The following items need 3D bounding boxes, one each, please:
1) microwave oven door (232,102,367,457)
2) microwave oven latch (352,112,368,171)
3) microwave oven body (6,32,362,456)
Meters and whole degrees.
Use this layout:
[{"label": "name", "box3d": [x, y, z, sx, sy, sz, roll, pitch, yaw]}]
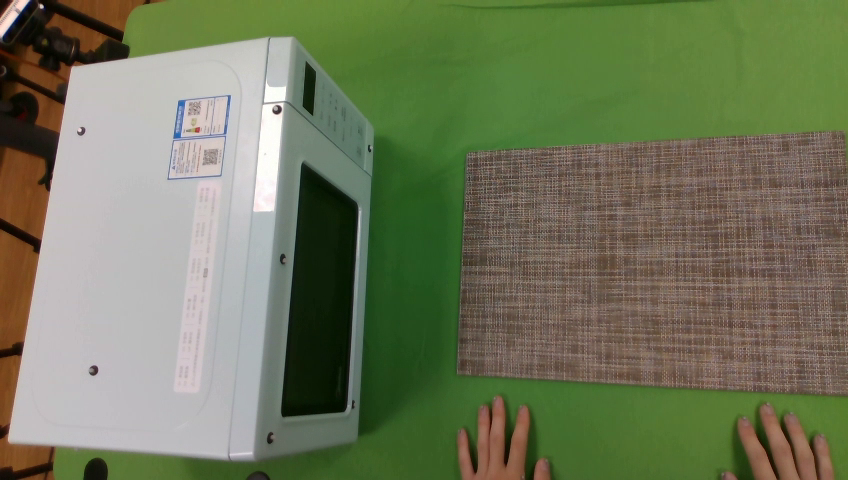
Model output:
[{"label": "microwave oven door", "box3d": [-0.131, 0.054, 0.701, 0.039, 0.245, 0.354, -3, 77, 17]}, {"label": "microwave oven latch", "box3d": [-0.094, -0.136, 0.842, 0.030, 0.030, 0.079, -1, 78, 16]}, {"label": "microwave oven body", "box3d": [-0.269, 0.021, 0.755, 0.325, 0.262, 0.439, -2, 78, 16]}]
